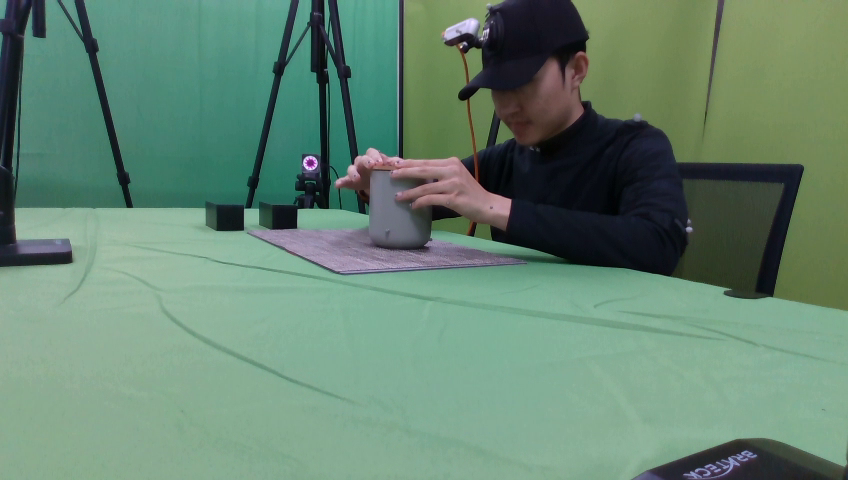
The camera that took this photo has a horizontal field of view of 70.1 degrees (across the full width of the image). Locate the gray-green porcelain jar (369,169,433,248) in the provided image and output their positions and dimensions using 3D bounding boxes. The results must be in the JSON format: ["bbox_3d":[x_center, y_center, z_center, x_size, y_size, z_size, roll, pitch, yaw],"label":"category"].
[{"bbox_3d":[-0.039,-0.054,1.002,0.106,0.126,0.106,1,7,0],"label":"gray-green porcelain jar"}]

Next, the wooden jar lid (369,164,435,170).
[{"bbox_3d":[-0.037,-0.114,0.993,0.108,0.020,0.108,3,5,0],"label":"wooden jar lid"}]
